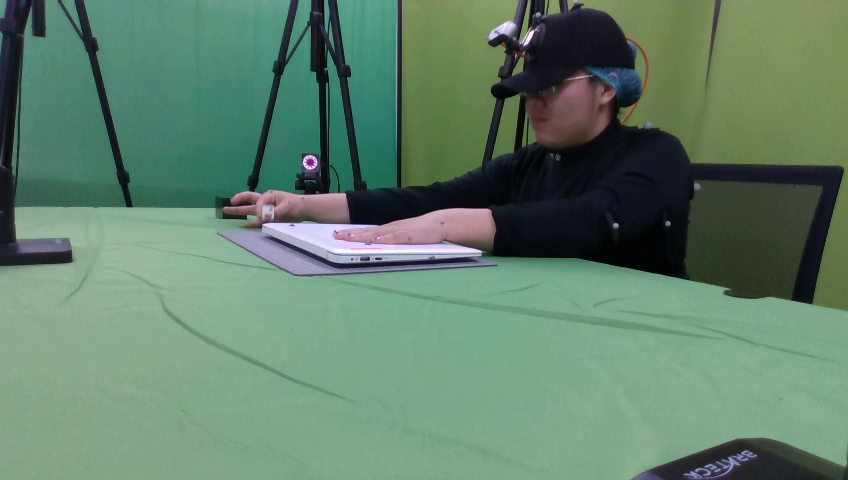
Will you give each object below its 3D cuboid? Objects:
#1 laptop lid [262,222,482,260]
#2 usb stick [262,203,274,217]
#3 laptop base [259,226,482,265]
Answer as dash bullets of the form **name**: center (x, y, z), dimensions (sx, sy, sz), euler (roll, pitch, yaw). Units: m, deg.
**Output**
- **laptop lid**: center (-0.098, -0.002, 0.964), dimensions (0.243, 0.013, 0.355), euler (2, 7, -29)
- **usb stick**: center (-0.300, -0.058, 1.162), dimensions (0.021, 0.027, 0.059), euler (-1, 2, -17)
- **laptop base**: center (-0.101, 0.007, 0.964), dimensions (0.237, 0.023, 0.352), euler (2, 6, -31)
